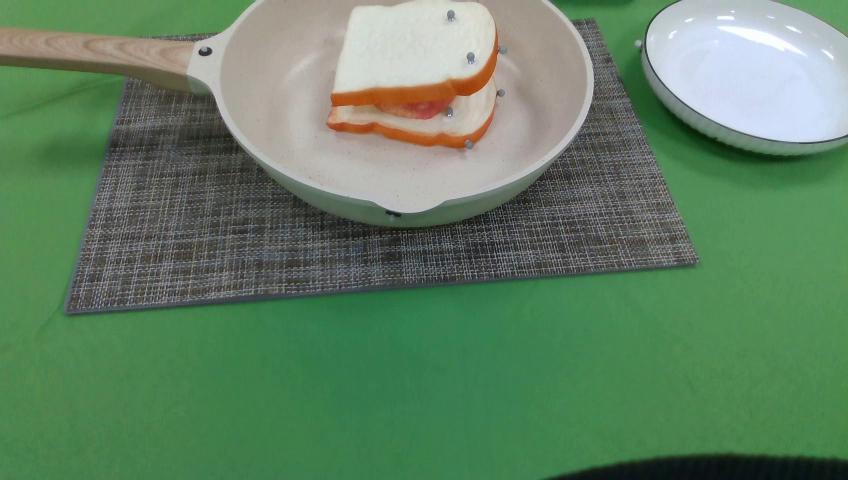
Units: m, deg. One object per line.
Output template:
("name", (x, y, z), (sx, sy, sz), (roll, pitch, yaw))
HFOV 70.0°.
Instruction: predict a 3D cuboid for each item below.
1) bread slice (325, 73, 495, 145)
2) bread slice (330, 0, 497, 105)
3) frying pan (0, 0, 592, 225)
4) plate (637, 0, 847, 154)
("bread slice", (-0.006, -0.127, 0.525), (0.134, 0.018, 0.106), (9, 56, 4))
("bread slice", (-0.007, -0.157, 0.490), (0.131, 0.019, 0.104), (-1, 60, 12))
("frying pan", (-0.119, -0.135, 0.479), (0.489, 0.103, 0.304), (5, 53, -8))
("plate", (0.296, -0.150, 0.552), (0.208, 0.039, 0.205), (1, 55, -1))
